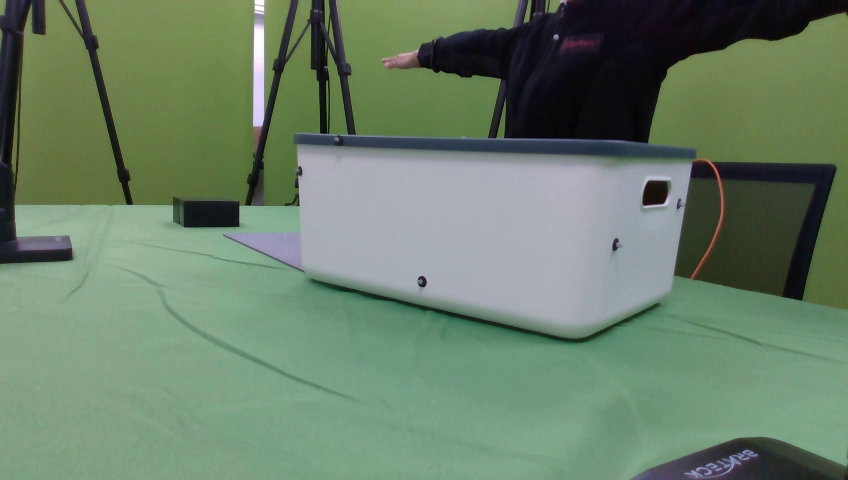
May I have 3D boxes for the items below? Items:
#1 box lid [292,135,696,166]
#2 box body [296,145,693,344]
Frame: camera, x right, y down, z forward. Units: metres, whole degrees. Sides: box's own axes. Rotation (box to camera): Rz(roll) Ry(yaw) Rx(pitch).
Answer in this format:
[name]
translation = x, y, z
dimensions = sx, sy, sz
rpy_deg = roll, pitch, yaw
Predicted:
[box lid]
translation = 0.068, -0.094, 0.645
dimensions = 0.369, 0.015, 0.265
rpy_deg = 8, 9, 37
[box body]
translation = 0.065, -0.020, 0.653
dimensions = 0.362, 0.160, 0.255
rpy_deg = 9, 9, 36
